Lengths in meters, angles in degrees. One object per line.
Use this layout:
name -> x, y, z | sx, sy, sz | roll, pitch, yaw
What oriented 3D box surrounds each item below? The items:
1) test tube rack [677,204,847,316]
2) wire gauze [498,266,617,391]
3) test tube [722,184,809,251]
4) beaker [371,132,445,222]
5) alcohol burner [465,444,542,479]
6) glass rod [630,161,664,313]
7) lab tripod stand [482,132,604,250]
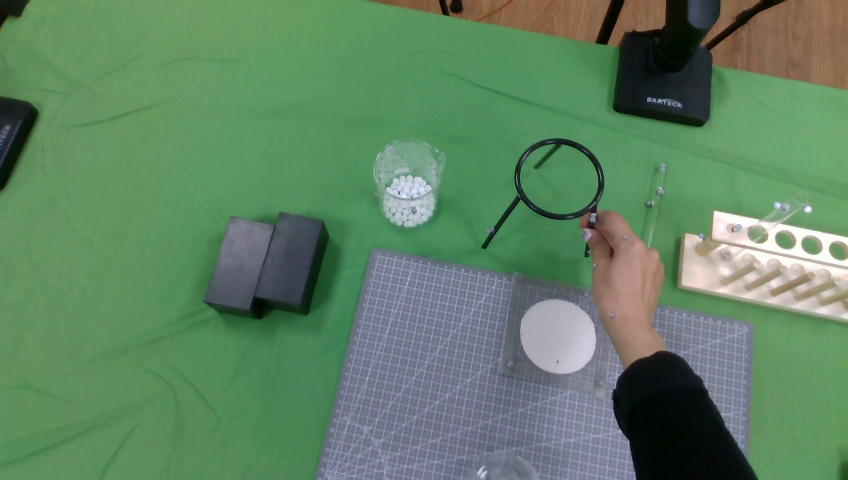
test tube rack -> 0.423, 0.029, 0.678 | 0.242, 0.085, 0.066 | 11, 72, 2
wire gauze -> 0.152, 0.097, 0.687 | 0.125, 0.011, 0.121 | 13, 71, 4
test tube -> 0.356, -0.020, 0.641 | 0.017, 0.151, 0.017 | 0, 69, -1
beaker -> -0.016, -0.068, 0.690 | 0.084, 0.101, 0.073 | -26, 75, -10
alcohol burner -> 0.080, 0.237, 0.585 | 0.078, 0.120, 0.077 | 1, 71, -3
glass rod -> 0.268, -0.007, 0.725 | 0.008, 0.008, 0.199 | 16, 74, 3
lab tripod stand -> 0.133, -0.052, 0.662 | 0.148, 0.132, 0.147 | 0, 71, 1
